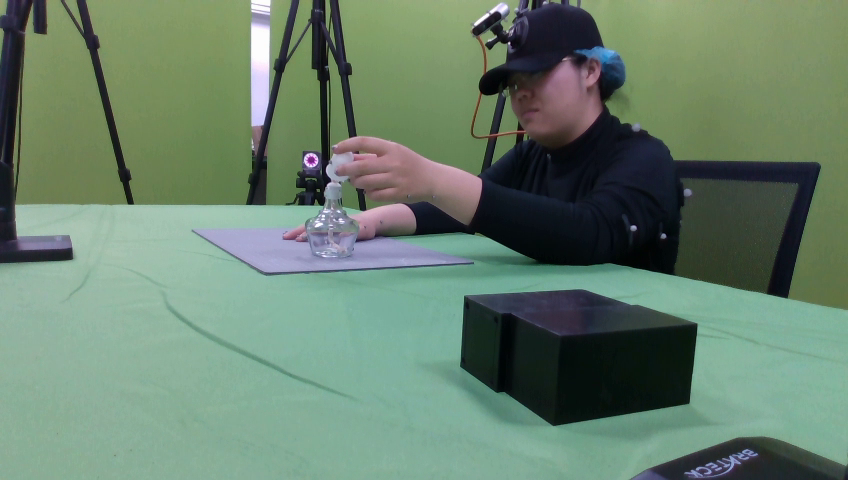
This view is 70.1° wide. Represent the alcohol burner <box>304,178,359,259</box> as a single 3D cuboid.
[{"bbox_3d":[-0.130,-0.034,0.851,0.078,0.119,0.078,2,5,0],"label":"alcohol burner"}]

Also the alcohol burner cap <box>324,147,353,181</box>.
[{"bbox_3d":[-0.112,-0.105,0.808,0.034,0.033,0.048,-1,-32,-26],"label":"alcohol burner cap"}]
